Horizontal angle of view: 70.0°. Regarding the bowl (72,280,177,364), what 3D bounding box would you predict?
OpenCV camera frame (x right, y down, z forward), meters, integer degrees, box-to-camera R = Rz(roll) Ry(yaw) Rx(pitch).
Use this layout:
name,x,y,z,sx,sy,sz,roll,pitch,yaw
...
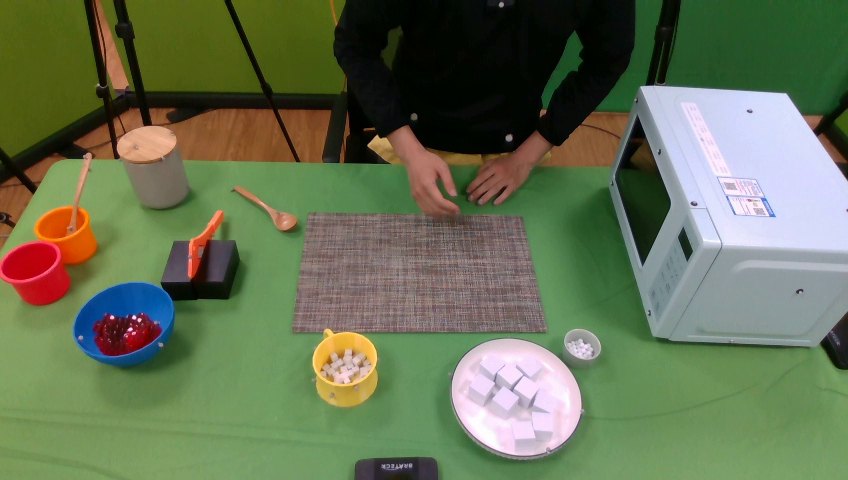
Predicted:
name,x,y,z,sx,sy,sz,roll,pitch,yaw
bowl,-0.473,0.147,0.982,0.151,0.077,0.150,2,46,-2

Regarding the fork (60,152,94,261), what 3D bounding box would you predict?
name,x,y,z,sx,sy,sz,roll,pitch,yaw
fork,-0.638,-0.063,1.120,0.028,0.018,0.207,12,90,7

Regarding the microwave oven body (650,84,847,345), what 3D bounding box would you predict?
name,x,y,z,sx,sy,sz,roll,pitch,yaw
microwave oven body,0.569,-0.054,1.116,0.326,0.261,0.439,2,46,-1

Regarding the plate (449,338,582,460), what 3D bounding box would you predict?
name,x,y,z,sx,sy,sz,roll,pitch,yaw
plate,0.141,0.251,0.956,0.208,0.039,0.206,2,46,-2

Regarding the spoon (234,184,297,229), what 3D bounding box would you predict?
name,x,y,z,sx,sy,sz,roll,pitch,yaw
spoon,-0.327,-0.073,1.239,0.193,0.022,0.041,34,70,25

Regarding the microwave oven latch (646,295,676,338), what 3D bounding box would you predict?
name,x,y,z,sx,sy,sz,roll,pitch,yaw
microwave oven latch,0.412,0.133,1.060,0.030,0.029,0.078,3,46,0

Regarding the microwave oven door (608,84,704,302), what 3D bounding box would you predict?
name,x,y,z,sx,sy,sz,roll,pitch,yaw
microwave oven door,0.424,-0.096,1.138,0.039,0.245,0.353,3,46,-1

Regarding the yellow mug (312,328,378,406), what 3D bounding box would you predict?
name,x,y,z,sx,sy,sz,roll,pitch,yaw
yellow mug,-0.132,0.193,0.971,0.100,0.064,0.130,-22,51,-22

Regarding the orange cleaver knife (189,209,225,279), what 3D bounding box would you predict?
name,x,y,z,sx,sy,sz,roll,pitch,yaw
orange cleaver knife,-0.400,0.002,1.122,0.012,0.077,0.210,4,23,-4

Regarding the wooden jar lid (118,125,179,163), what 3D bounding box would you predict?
name,x,y,z,sx,sy,sz,roll,pitch,yaw
wooden jar lid,-0.528,-0.181,1.167,0.108,0.021,0.107,4,48,-4

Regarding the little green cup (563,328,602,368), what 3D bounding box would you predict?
name,x,y,z,sx,sy,sz,roll,pitch,yaw
little green cup,0.265,0.184,1.025,0.061,0.039,0.061,1,46,-1

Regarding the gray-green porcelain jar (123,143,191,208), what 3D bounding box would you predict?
name,x,y,z,sx,sy,sz,roll,pitch,yaw
gray-green porcelain jar,-0.531,-0.137,1.214,0.106,0.127,0.105,2,47,-2
